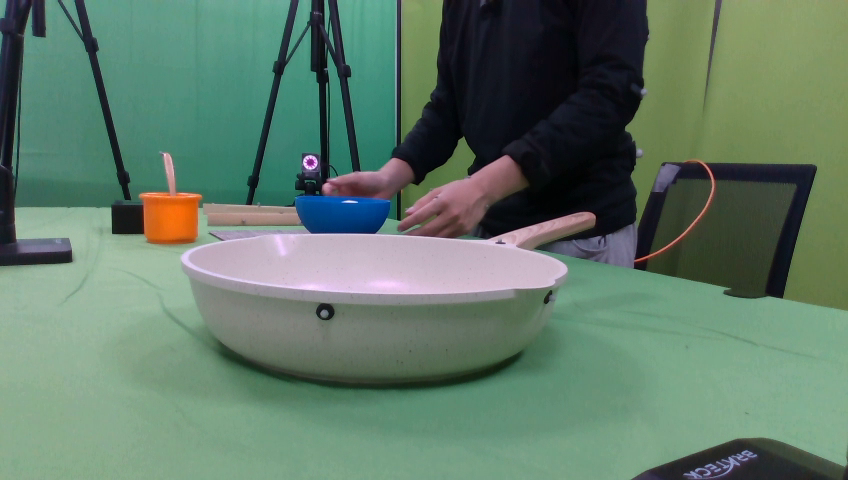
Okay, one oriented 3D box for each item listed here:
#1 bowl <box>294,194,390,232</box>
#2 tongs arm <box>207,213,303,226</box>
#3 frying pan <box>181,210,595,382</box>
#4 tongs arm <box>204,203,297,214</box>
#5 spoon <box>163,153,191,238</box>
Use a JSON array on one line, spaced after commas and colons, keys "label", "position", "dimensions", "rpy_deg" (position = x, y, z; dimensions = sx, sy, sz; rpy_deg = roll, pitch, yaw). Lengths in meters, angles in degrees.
[{"label": "bowl", "position": [-0.130, -0.029, 0.956], "dimensions": [0.151, 0.077, 0.151], "rpy_deg": [3, 7, 0]}, {"label": "tongs arm", "position": [-0.264, -0.047, 1.297], "dimensions": [0.390, 0.028, 0.028], "rpy_deg": [-2, 7, -32]}, {"label": "frying pan", "position": [0.034, 0.019, 0.557], "dimensions": [0.305, 0.102, 0.490], "rpy_deg": [10, 19, 42]}, {"label": "tongs arm", "position": [-0.295, -0.062, 1.370], "dimensions": [0.386, 0.026, 0.050], "rpy_deg": [1, 9, -19]}, {"label": "spoon", "position": [-0.413, -0.077, 0.996], "dimensions": [0.042, 0.193, 0.021], "rpy_deg": [2, -37, -31]}]
